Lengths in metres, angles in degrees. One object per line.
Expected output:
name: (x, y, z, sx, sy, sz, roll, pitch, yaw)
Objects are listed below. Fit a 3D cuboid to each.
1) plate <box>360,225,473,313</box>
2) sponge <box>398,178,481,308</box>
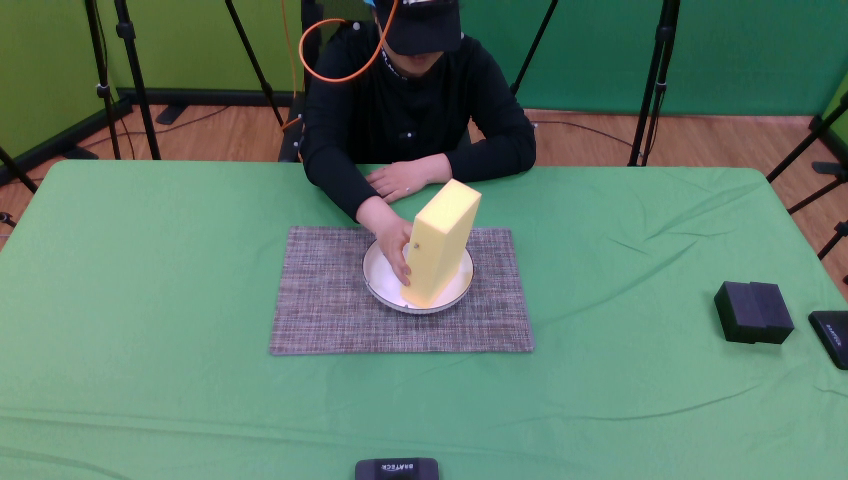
plate: (-0.014, 0.057, 1.126, 0.208, 0.039, 0.206, 2, 46, -2)
sponge: (0.024, 0.011, 1.042, 0.061, 0.208, 0.118, 30, 49, 15)
